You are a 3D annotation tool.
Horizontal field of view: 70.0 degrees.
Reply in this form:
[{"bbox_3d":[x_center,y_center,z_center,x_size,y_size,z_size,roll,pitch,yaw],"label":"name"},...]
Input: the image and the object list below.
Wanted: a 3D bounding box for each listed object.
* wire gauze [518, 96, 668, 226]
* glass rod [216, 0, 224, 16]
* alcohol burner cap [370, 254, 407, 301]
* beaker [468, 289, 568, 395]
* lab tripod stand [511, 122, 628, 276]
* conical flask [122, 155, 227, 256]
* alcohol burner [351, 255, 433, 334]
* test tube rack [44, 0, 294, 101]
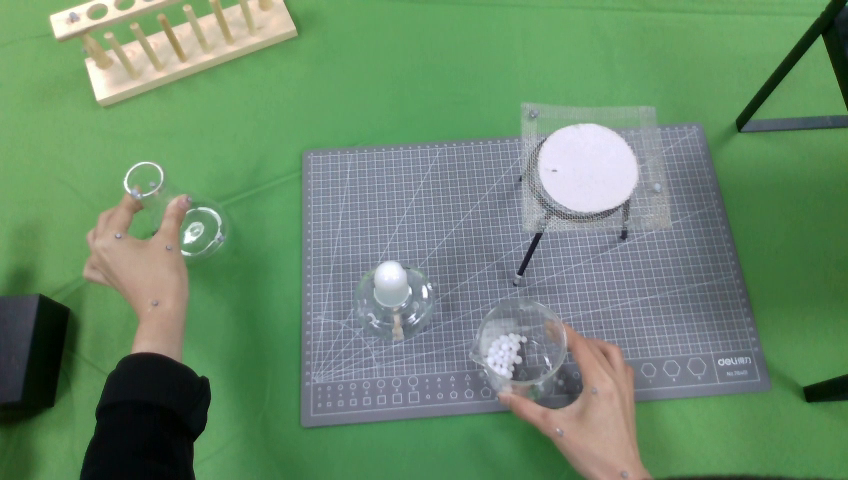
[{"bbox_3d":[0.141,-0.070,0.517,0.121,0.011,0.124,1,70,0],"label":"wire gauze"},{"bbox_3d":[-0.238,-0.311,0.641,0.008,0.201,0.008,2,67,-3],"label":"glass rod"},{"bbox_3d":[-0.031,0.030,0.526,0.034,0.048,0.033,1,62,-1],"label":"alcohol burner cap"},{"bbox_3d":[0.083,0.098,0.543,0.084,0.101,0.073,-16,65,1],"label":"beaker"},{"bbox_3d":[0.135,-0.041,0.579,0.148,0.132,0.147,0,68,0],"label":"lab tripod stand"},{"bbox_3d":[-0.248,-0.038,0.591,0.075,0.122,0.075,0,69,1],"label":"conical flask"},{"bbox_3d":[-0.030,0.045,0.560,0.078,0.120,0.077,0,68,-1],"label":"alcohol burner"},{"bbox_3d":[-0.282,-0.251,0.691,0.242,0.086,0.066,-23,71,-8],"label":"test tube rack"}]
